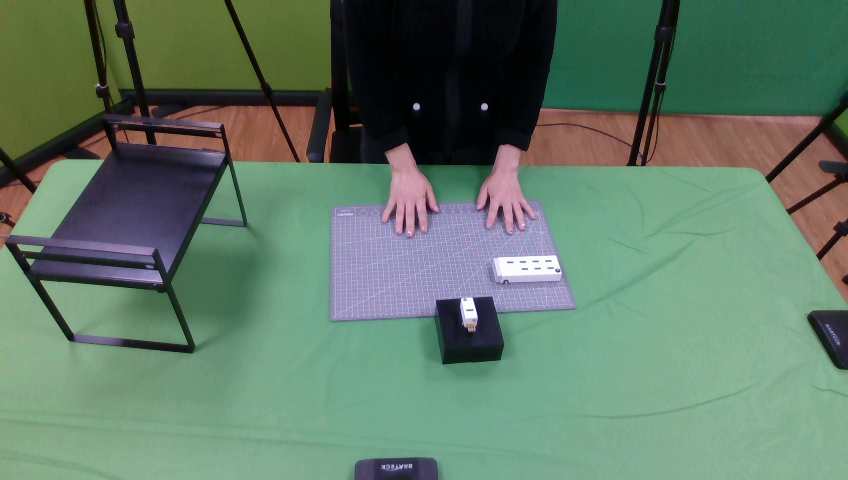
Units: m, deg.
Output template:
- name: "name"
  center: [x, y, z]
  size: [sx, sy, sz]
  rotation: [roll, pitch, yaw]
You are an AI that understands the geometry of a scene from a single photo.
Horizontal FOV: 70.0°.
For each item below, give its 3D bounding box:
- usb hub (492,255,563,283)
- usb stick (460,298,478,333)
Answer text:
- name: "usb hub"
  center: [0.196, 0.056, 1.151]
  size: [0.125, 0.025, 0.049]
  rotation: [-2, 46, -5]
- name: "usb stick"
  center: [0.075, 0.126, 1.008]
  size: [0.021, 0.027, 0.059]
  rotation: [-1, 49, -9]
